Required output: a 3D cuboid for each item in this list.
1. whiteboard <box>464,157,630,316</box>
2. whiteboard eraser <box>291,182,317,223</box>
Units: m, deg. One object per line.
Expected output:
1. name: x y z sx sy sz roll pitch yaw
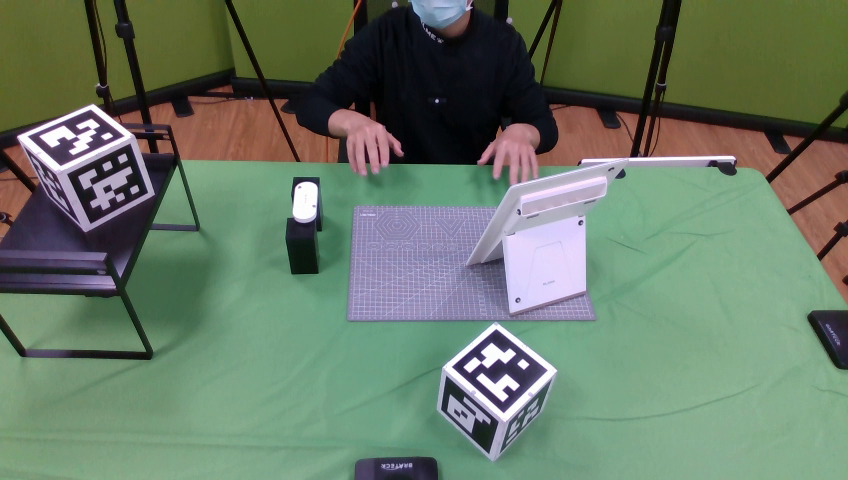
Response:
1. whiteboard: 0.224 0.014 1.041 0.217 0.306 0.143 -14 68 -17
2. whiteboard eraser: -0.219 -0.070 1.111 0.041 0.019 0.100 -2 45 -3
